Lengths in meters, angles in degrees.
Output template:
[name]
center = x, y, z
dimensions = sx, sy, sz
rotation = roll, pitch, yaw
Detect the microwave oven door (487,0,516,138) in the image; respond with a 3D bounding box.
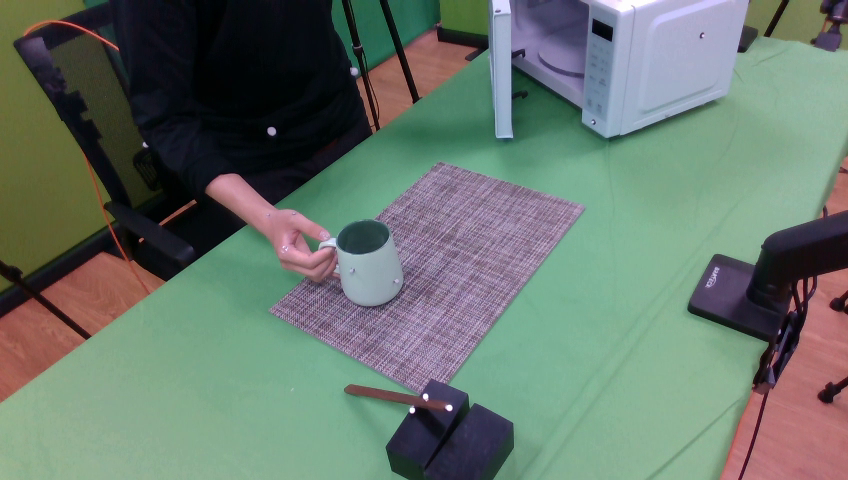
[microwave oven door]
center = 0.153, -0.403, 1.222
dimensions = 0.039, 0.245, 0.354
rotation = -4, 41, 6

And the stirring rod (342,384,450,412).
[stirring rod]
center = -0.038, 0.186, 0.714
dimensions = 0.175, 0.006, 0.014
rotation = -3, 22, 43

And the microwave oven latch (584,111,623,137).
[microwave oven latch]
center = 0.337, -0.222, 1.142
dimensions = 0.030, 0.029, 0.078
rotation = -21, 42, -14

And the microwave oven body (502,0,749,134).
[microwave oven body]
center = 0.382, -0.445, 1.246
dimensions = 0.327, 0.261, 0.437
rotation = -22, 42, -16

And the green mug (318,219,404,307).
[green mug]
center = -0.096, 0.032, 0.876
dimensions = 0.125, 0.105, 0.092
rotation = 8, 43, 17
